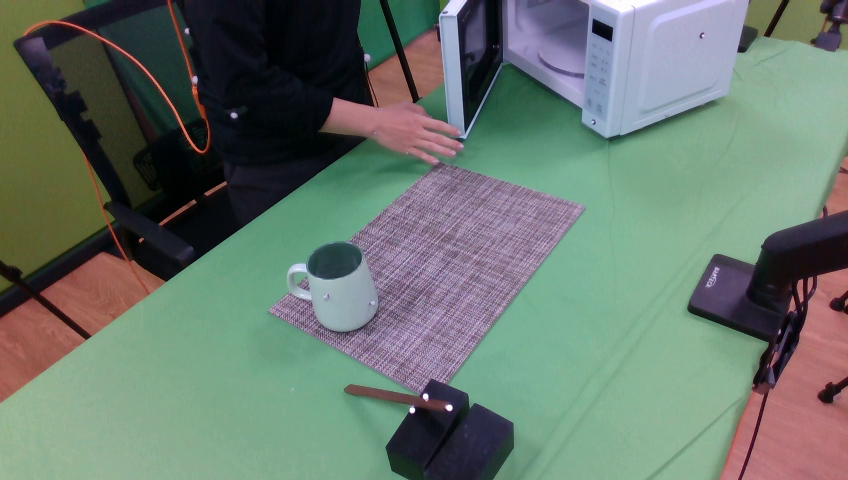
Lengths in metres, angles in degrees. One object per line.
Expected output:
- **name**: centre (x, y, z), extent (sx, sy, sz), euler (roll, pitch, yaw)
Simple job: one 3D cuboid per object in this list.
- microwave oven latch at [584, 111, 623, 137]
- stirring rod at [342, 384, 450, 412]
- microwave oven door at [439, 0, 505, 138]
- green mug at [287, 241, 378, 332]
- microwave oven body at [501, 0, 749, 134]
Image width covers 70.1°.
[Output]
- **microwave oven latch**: centre (0.337, -0.222, 1.142), extent (0.030, 0.029, 0.078), euler (-21, 42, -14)
- **stirring rod**: centre (-0.038, 0.186, 0.714), extent (0.175, 0.006, 0.014), euler (-3, 22, 43)
- **microwave oven door**: centre (0.107, -0.406, 1.231), extent (0.039, 0.245, 0.355), euler (7, 43, 18)
- **green mug**: centre (-0.131, 0.065, 0.843), extent (0.125, 0.105, 0.092), euler (3, 42, 12)
- **microwave oven body**: centre (0.382, -0.444, 1.246), extent (0.327, 0.261, 0.437), euler (-22, 42, -16)
